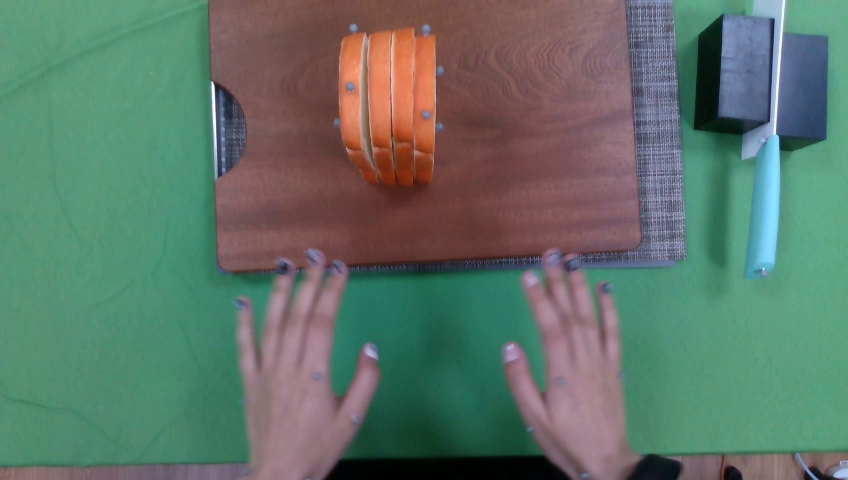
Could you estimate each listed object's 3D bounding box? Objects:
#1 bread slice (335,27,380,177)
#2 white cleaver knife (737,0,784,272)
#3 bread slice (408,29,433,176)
[{"bbox_3d":[-0.054,-0.117,0.509,0.019,0.132,0.104,-1,85,4],"label":"bread slice"},{"bbox_3d":[0.323,-0.112,0.583,0.021,0.066,0.286,6,88,4],"label":"white cleaver knife"},{"bbox_3d":[-0.004,-0.113,0.509,0.018,0.134,0.107,-1,91,-2],"label":"bread slice"}]
